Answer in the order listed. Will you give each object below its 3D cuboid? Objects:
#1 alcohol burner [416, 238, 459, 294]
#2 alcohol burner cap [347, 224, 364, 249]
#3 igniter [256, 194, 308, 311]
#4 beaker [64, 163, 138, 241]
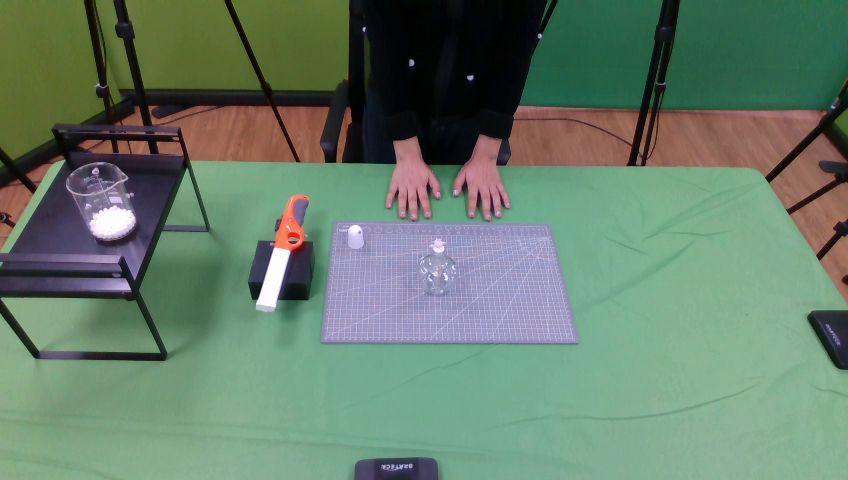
[{"bbox_3d":[0.024,0.042,1.088,0.078,0.120,0.077,1,46,0],"label":"alcohol burner"},{"bbox_3d":[-0.134,-0.011,1.177,0.034,0.048,0.033,2,47,-2],"label":"alcohol burner cap"},{"bbox_3d":[-0.254,0.012,1.096,0.057,0.025,0.275,13,46,-8],"label":"igniter"},{"bbox_3d":[-0.477,-0.055,0.910,0.084,0.101,0.073,-9,48,-13],"label":"beaker"}]
